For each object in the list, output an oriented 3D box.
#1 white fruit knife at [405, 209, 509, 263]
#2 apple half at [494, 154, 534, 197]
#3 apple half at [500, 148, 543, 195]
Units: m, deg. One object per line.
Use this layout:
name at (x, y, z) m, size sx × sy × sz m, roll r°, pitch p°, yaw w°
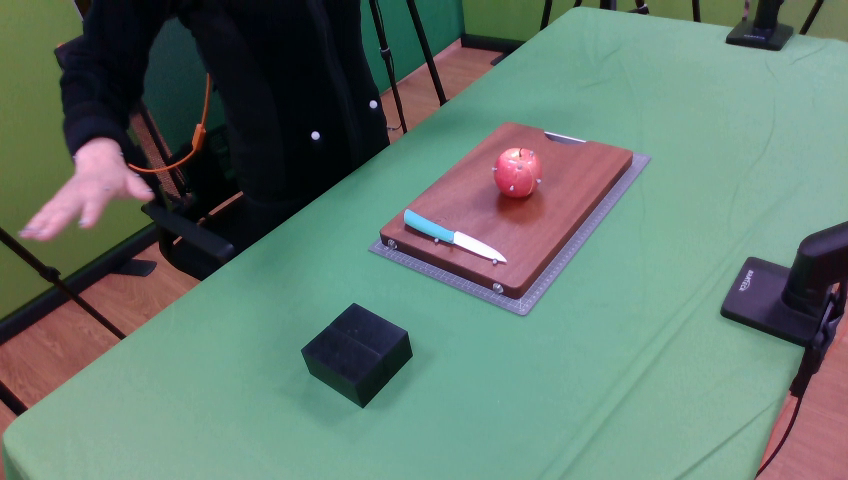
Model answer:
white fruit knife at (0.046, -0.005, 0.944) m, size 0.205 × 0.016 × 0.027 m, roll 24°, pitch 64°, yaw 32°
apple half at (0.140, -0.098, 0.989) m, size 0.080 × 0.081 × 0.033 m, roll 27°, pitch 50°, yaw 35°
apple half at (0.166, -0.118, 1.010) m, size 0.080 × 0.075 × 0.053 m, roll 23°, pitch 46°, yaw 38°
